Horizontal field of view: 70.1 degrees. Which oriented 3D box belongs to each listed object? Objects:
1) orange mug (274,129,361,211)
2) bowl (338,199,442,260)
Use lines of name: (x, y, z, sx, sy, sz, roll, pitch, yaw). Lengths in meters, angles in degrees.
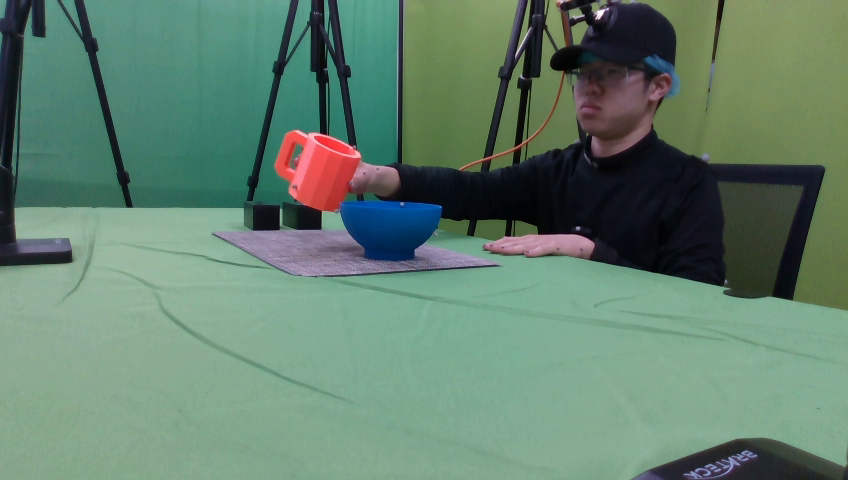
orange mug: (-0.171, -0.117, 0.948, 0.126, 0.100, 0.083, 33, 19, 7)
bowl: (-0.050, -0.015, 0.878, 0.151, 0.077, 0.151, 2, 8, 0)
